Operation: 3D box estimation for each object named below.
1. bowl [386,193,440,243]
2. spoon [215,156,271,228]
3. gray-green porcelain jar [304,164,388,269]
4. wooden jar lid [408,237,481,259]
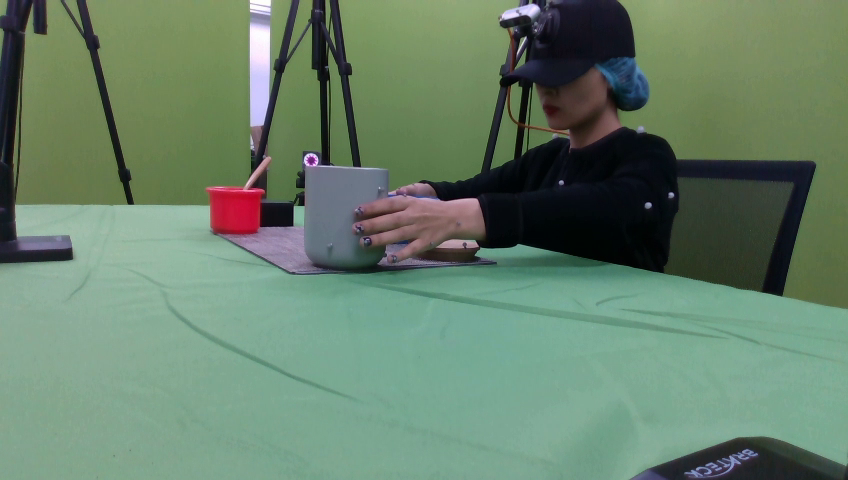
[{"bbox_3d":[-0.050,-0.038,1.033,0.151,0.077,0.151,3,7,0],"label":"bowl"},{"bbox_3d":[-0.319,-0.090,1.091,0.041,0.022,0.193,7,52,17],"label":"spoon"},{"bbox_3d":[-0.099,-0.031,0.770,0.106,0.126,0.106,2,7,0],"label":"gray-green porcelain jar"},{"bbox_3d":[0.031,0.012,0.895,0.108,0.020,0.108,2,8,0],"label":"wooden jar lid"}]
